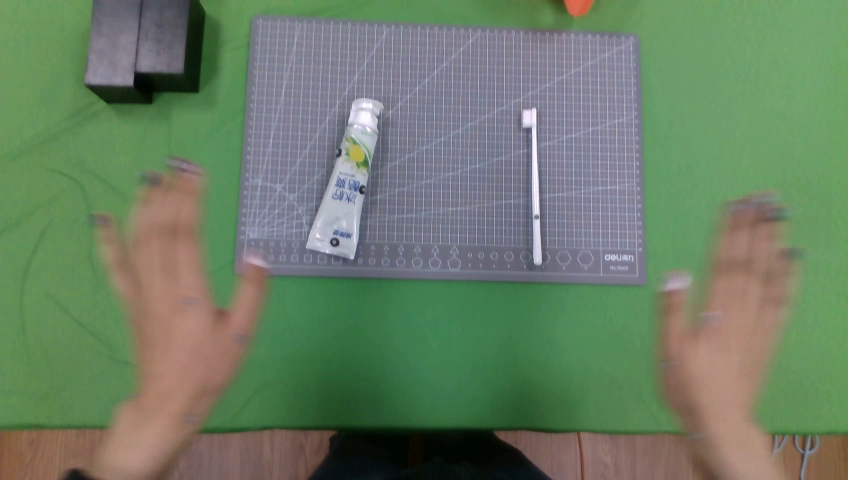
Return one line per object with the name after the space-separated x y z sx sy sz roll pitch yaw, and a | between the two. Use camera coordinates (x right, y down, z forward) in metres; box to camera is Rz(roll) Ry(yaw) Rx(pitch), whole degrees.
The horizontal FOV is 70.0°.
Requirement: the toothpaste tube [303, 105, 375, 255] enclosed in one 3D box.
-0.087 -0.069 0.658 0.055 0.034 0.164 13 85 6 | toothpaste tube

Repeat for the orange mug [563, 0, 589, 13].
0.158 -0.326 0.677 0.083 0.101 0.125 -20 78 -6 | orange mug

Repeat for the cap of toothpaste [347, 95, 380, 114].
-0.066 -0.148 0.665 0.037 0.037 0.011 3 79 -3 | cap of toothpaste

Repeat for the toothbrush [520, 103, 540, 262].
0.119 -0.065 0.676 0.016 0.014 0.181 -1 82 0 | toothbrush
